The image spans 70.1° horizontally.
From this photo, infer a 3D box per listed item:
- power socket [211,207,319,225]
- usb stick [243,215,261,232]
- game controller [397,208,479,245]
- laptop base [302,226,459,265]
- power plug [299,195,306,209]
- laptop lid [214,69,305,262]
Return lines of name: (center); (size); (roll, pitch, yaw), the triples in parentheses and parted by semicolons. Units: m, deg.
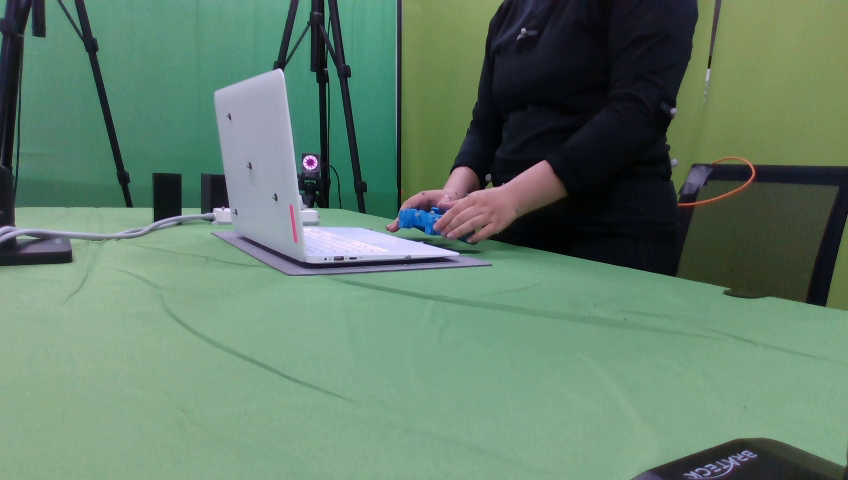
power socket: (-0.334, -0.051, 1.281); (0.228, 0.032, 0.072); (-1, 9, -29)
usb stick: (-0.302, -0.029, 1.071); (0.021, 0.027, 0.059); (0, 11, -30)
game controller: (0.021, -0.029, 1.050); (0.097, 0.051, 0.154); (8, 3, -31)
laptop base: (-0.136, 0.006, 0.951); (0.237, 0.023, 0.352); (2, 6, -32)
power plug: (-0.283, -0.075, 1.342); (0.035, 0.052, 0.072); (0, 3, -18)
laptop lid: (-0.246, -0.107, 0.865); (0.013, 0.241, 0.355); (-11, 14, -30)
